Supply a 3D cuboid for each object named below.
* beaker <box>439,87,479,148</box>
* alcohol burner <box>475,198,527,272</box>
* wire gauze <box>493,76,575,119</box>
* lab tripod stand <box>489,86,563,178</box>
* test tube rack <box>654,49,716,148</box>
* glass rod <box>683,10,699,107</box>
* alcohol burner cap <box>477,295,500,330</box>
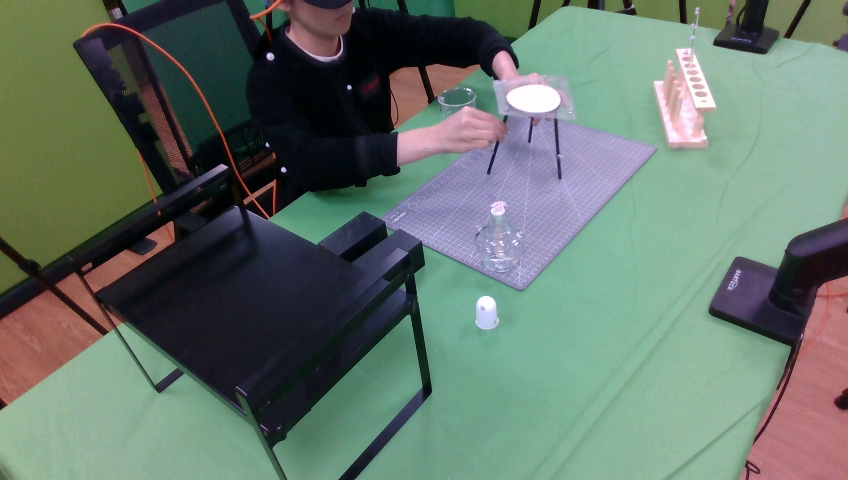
[{"bbox_3d":[0.072,-0.239,1.184,0.073,0.101,0.084,29,53,35],"label":"beaker"},{"bbox_3d":[0.113,-0.012,0.897,0.078,0.119,0.077,-6,40,6],"label":"alcohol burner"},{"bbox_3d":[0.179,-0.235,0.992,0.125,0.011,0.121,0,44,2],"label":"wire gauze"},{"bbox_3d":[0.181,-0.183,1.035,0.148,0.132,0.147,-1,45,1],"label":"lab tripod stand"},{"bbox_3d":[0.502,-0.280,1.176,0.066,0.085,0.241,1,41,11],"label":"test tube rack"},{"bbox_3d":[0.501,-0.335,1.138,0.008,0.201,0.008,-7,45,7],"label":"glass rod"},{"bbox_3d":[0.089,0.097,0.833,0.034,0.048,0.033,-4,42,4],"label":"alcohol burner cap"}]
